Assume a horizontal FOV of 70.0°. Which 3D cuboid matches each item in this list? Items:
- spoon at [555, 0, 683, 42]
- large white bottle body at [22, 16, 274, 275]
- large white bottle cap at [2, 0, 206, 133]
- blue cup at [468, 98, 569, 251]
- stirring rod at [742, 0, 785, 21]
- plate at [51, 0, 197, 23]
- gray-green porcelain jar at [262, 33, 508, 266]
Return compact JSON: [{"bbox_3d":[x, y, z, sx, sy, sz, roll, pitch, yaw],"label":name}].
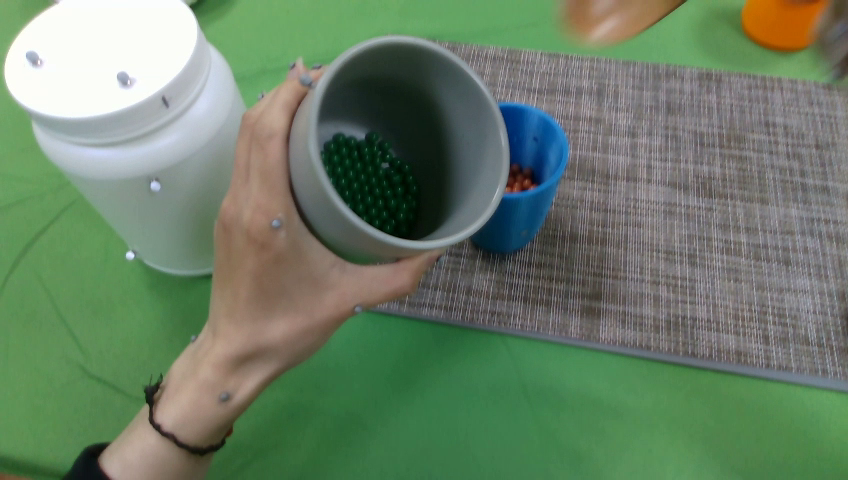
[{"bbox_3d":[0.127,-0.104,0.213,0.022,0.192,0.041,-6,99,-36],"label":"spoon"},{"bbox_3d":[-0.189,-0.070,0.441,0.130,0.186,0.129,-1,60,1],"label":"large white bottle body"},{"bbox_3d":[-0.192,-0.113,0.368,0.115,0.018,0.114,-1,60,1],"label":"large white bottle cap"},{"bbox_3d":[0.060,-0.041,0.461,0.092,0.101,0.092,-2,60,3],"label":"blue cup"},{"bbox_3d":[0.385,-0.258,0.559,0.176,0.006,0.014,-28,56,35],"label":"stirring rod"},{"bbox_3d":[-0.311,-0.307,0.665,0.208,0.039,0.206,-1,60,1],"label":"plate"},{"bbox_3d":[-0.030,-0.040,0.342,0.106,0.126,0.105,4,82,-25],"label":"gray-green porcelain jar"}]
